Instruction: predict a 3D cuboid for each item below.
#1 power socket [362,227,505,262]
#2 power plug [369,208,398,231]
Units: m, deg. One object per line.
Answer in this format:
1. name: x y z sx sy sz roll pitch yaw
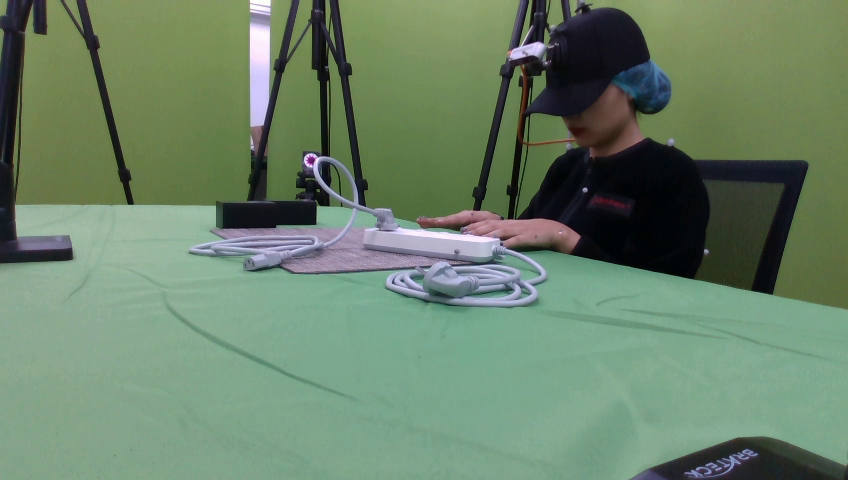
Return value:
1. power socket: 0.009 0.004 0.909 0.226 0.032 0.072 7 9 28
2. power plug: -0.069 -0.023 0.915 0.035 0.052 0.073 9 9 39
